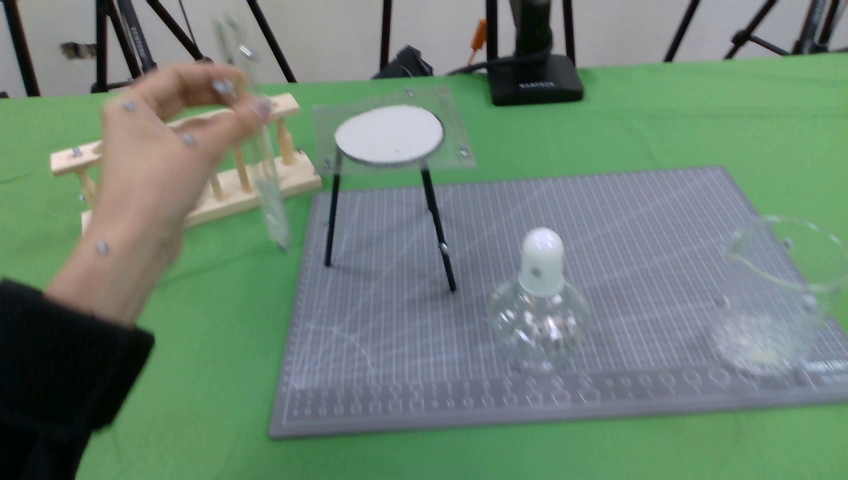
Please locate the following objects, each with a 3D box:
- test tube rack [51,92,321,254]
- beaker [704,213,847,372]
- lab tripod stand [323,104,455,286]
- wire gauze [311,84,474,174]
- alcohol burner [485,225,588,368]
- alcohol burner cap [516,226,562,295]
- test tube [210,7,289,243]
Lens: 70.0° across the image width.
[{"bbox_3d":[-0.240,-0.074,0.632,0.243,0.086,0.066,-19,43,-18],"label":"test tube rack"},{"bbox_3d":[0.251,0.042,0.446,0.084,0.101,0.073,4,41,11],"label":"beaker"},{"bbox_3d":[-0.027,-0.040,0.535,0.148,0.133,0.147,-3,43,3],"label":"lab tripod stand"},{"bbox_3d":[-0.031,-0.090,0.491,0.125,0.011,0.120,-8,41,-3],"label":"wire gauze"},{"bbox_3d":[0.085,0.039,0.451,0.078,0.120,0.077,-2,39,2],"label":"alcohol burner"},{"bbox_3d":[0.082,0.012,0.428,0.034,0.048,0.033,-3,42,3],"label":"alcohol burner cap"},{"bbox_3d":[-0.103,-0.062,0.368,0.017,0.151,0.017,-3,34,3],"label":"test tube"}]
